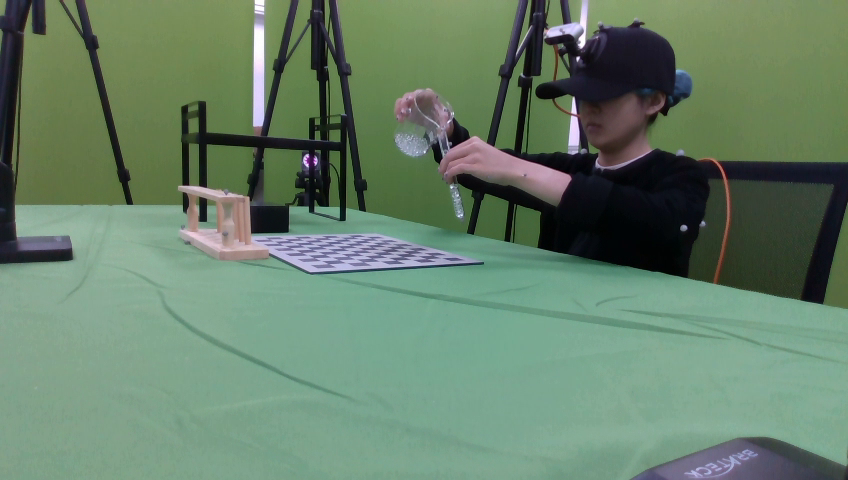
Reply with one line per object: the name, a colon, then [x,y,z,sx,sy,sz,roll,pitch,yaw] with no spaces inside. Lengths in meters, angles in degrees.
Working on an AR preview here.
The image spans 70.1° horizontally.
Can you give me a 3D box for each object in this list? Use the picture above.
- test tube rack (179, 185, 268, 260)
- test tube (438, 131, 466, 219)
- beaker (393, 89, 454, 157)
test tube rack: [-0.303,-0.031,0.898,0.067,0.085,0.241,-2,9,-33]
test tube: [0.045,-0.106,0.977,0.017,0.150,0.017,-12,-11,-2]
beaker: [-0.003,-0.195,1.042,0.074,0.083,0.100,-10,-26,-37]
